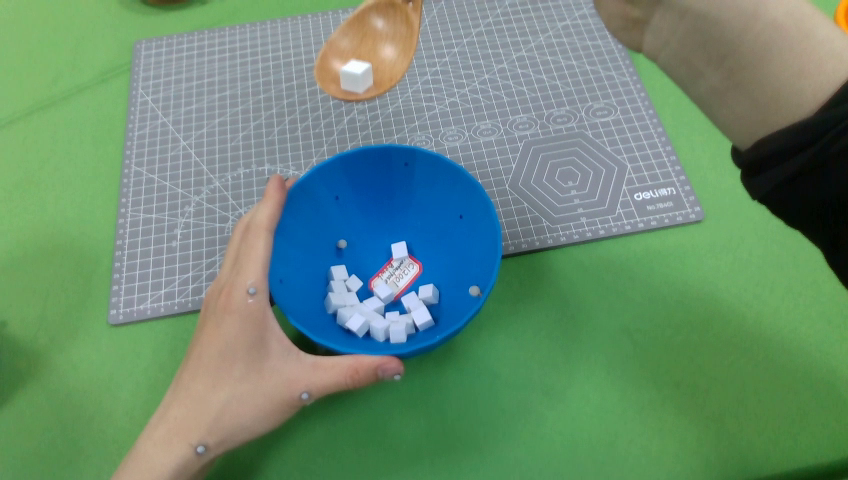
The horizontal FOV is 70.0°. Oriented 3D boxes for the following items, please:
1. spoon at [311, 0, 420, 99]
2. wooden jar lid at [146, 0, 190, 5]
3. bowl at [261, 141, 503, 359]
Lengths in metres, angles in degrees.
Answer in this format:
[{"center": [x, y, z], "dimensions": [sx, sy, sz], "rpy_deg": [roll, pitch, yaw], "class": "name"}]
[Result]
[{"center": [0.009, -0.145, 0.267], "dimensions": [0.041, 0.022, 0.193], "rpy_deg": [29, 89, 17], "class": "spoon"}, {"center": [-0.259, -0.283, 0.628], "dimensions": [0.108, 0.021, 0.107], "rpy_deg": [0, 60, 1], "class": "wooden jar lid"}, {"center": [-0.024, 0.016, 0.410], "dimensions": [0.151, 0.077, 0.150], "rpy_deg": [-1, 62, 2], "class": "bowl"}]
